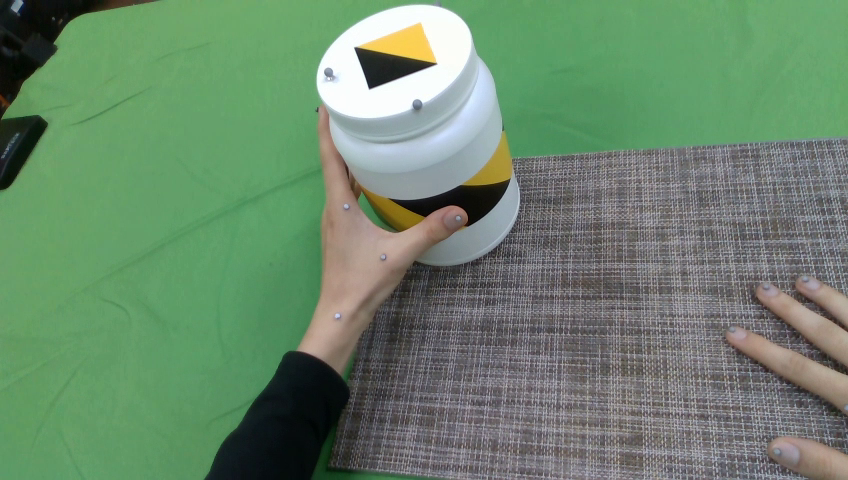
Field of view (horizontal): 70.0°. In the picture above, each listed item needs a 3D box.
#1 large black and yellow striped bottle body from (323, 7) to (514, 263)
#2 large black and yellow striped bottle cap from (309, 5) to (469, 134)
[{"bbox_3d":[-0.003,-0.079,0.495,0.130,0.186,0.129,-8,56,13],"label":"large black and yellow striped bottle body"},{"bbox_3d":[-0.026,-0.123,0.427,0.115,0.019,0.114,-8,55,12],"label":"large black and yellow striped bottle cap"}]
